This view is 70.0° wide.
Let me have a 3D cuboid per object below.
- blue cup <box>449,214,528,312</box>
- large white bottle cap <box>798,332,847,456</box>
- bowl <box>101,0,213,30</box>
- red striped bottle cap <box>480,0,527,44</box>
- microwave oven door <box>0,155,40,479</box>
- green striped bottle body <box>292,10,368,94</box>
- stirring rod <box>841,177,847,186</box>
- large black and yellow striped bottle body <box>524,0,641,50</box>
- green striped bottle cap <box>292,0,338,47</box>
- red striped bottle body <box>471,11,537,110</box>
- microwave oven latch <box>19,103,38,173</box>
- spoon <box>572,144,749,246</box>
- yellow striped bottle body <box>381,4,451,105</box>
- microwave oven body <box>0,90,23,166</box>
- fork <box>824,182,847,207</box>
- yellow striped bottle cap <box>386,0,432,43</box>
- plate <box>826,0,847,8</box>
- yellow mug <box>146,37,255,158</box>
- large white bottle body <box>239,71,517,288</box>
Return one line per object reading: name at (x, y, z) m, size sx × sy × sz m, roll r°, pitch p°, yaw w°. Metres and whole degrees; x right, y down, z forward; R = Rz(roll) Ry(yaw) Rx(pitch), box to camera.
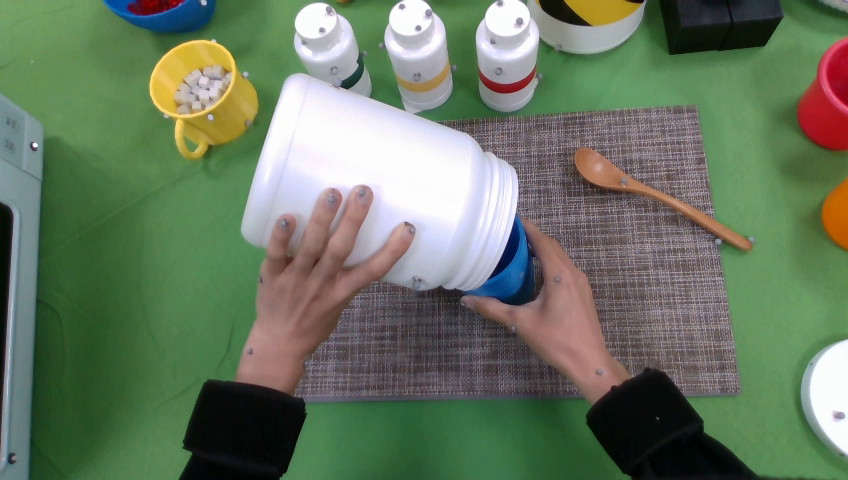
blue cup at (0.058, 0.023, 0.559) m, size 0.092 × 0.101 × 0.092 m, roll -7°, pitch 64°, yaw 15°
large white bottle cap at (0.395, 0.137, 0.536) m, size 0.115 × 0.018 × 0.114 m, roll -2°, pitch 71°, yaw 6°
bowl at (-0.311, -0.312, 0.739) m, size 0.151 × 0.077 × 0.150 m, roll -2°, pitch 72°, yaw 6°
red striped bottle cap at (0.076, -0.211, 0.579) m, size 0.044 × 0.018 × 0.044 m, roll -1°, pitch 71°, yaw 3°
microwave oven door at (-0.442, 0.058, 0.531) m, size 0.039 × 0.245 × 0.353 m, roll -12°, pitch 71°, yaw 4°
green striped bottle body at (-0.102, -0.200, 0.654) m, size 0.063 × 0.120 × 0.063 m, roll -2°, pitch 71°, yaw 6°
stirring rod at (0.412, -0.018, 0.522) m, size 0.014 × 0.006 × 0.175 m, roll 0°, pitch 29°, yaw 4°
large black and yellow striped bottle body at (0.170, -0.300, 0.618) m, size 0.130 × 0.185 × 0.130 m, roll -2°, pitch 72°, yaw 7°
green striped bottle cap at (-0.109, -0.216, 0.605) m, size 0.044 × 0.020 × 0.044 m, roll -2°, pitch 71°, yaw 6°
red striped bottle body at (0.084, -0.193, 0.629) m, size 0.063 × 0.120 × 0.062 m, roll -4°, pitch 68°, yaw 11°
microwave oven latch at (-0.465, -0.115, 0.696) m, size 0.030 × 0.030 × 0.078 m, roll -10°, pitch 72°, yaw 4°
spoon at (0.235, -0.044, 0.609) m, size 0.193 × 0.022 × 0.041 m, roll 29°, pitch 53°, yaw 14°
yellow striped bottle body at (-0.008, -0.200, 0.642) m, size 0.063 × 0.121 × 0.062 m, roll -3°, pitch 72°, yaw 8°
microwave oven body at (-0.591, 0.049, 0.557) m, size 0.326 × 0.262 × 0.438 m, roll -12°, pitch 72°, yaw 3°
fork at (0.440, -0.017, 0.510) m, size 0.028 × 0.205 × 0.019 m, roll -23°, pitch 115°, yaw -14°
yellow striped bottle cap at (-0.015, -0.217, 0.593) m, size 0.044 × 0.019 × 0.044 m, roll -2°, pitch 73°, yaw 6°
plate at (0.490, -0.335, 0.666) m, size 0.209 × 0.038 × 0.208 m, roll -2°, pitch 72°, yaw 7°
yellow mug at (-0.256, -0.156, 0.687) m, size 0.100 × 0.064 × 0.130 m, roll 7°, pitch 74°, yaw 9°
large white bottle body at (-0.034, -0.038, 0.468) m, size 0.185 × 0.130 × 0.130 m, roll 17°, pitch 73°, yaw -15°
